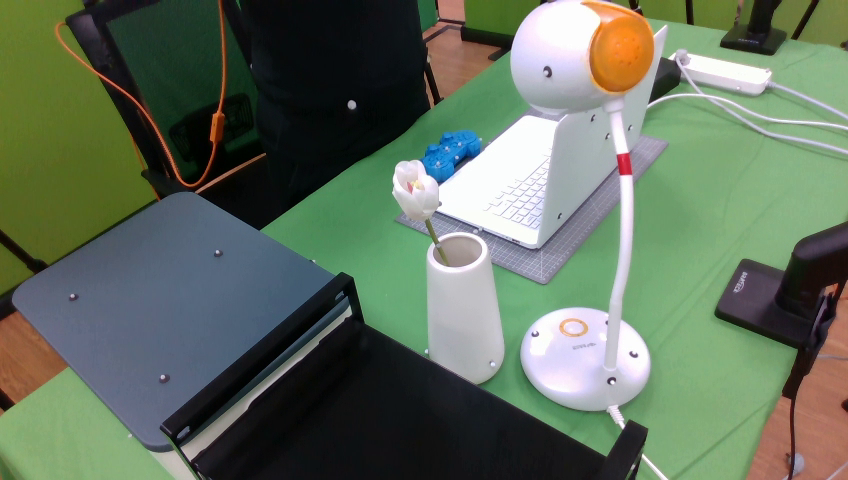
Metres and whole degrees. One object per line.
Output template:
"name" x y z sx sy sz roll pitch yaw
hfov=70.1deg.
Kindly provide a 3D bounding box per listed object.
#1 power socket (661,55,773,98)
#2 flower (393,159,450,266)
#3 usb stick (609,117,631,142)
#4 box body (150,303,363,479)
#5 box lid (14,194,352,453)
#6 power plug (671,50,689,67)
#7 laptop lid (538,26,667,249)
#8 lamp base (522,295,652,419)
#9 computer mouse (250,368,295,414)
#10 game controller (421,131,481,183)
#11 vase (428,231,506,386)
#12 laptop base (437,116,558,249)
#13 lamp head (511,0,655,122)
"power socket" 0.619 -0.352 1.289 0.225 0.033 0.072 26 51 33
"flower" 0.028 0.035 0.664 0.043 0.364 0.038 34 73 29
"usb stick" 0.369 -0.207 1.147 0.021 0.027 0.059 25 55 33
"box body" -0.284 0.123 0.765 0.361 0.161 0.255 25 49 33
"box lid" -0.290 0.067 0.716 0.368 0.015 0.264 25 50 33
"power plug" 0.540 -0.379 1.302 0.073 0.053 0.035 -31 46 -23
"laptop lid" 0.282 -0.163 0.942 0.013 0.242 0.358 28 50 27
"lamp base" 0.201 0.095 0.710 0.161 0.181 0.177 -16 43 -10
"computer mouse" -0.196 0.182 0.771 0.063 0.041 0.116 -12 47 -11
"game controller" 0.040 -0.163 1.144 0.096 0.052 0.155 22 49 29
"vase" 0.050 0.087 0.728 0.098 0.201 0.097 -3 40 3
"laptop base" 0.193 -0.117 1.087 0.233 0.023 0.355 21 48 34
"lamp head" 0.155 -0.168 0.563 0.113 0.113 0.122 -18 23 -12
